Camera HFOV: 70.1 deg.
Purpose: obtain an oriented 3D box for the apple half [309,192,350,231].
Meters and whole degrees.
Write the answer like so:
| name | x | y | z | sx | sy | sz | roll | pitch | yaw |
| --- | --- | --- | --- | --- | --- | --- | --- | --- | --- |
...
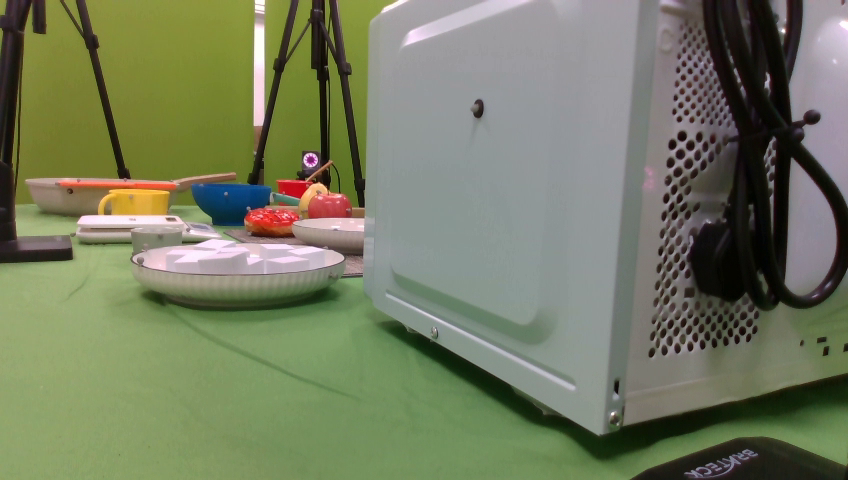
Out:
| name | x | y | z | sx | sy | sz | roll | pitch | yaw |
| --- | --- | --- | --- | --- | --- | --- | --- | --- | --- |
| apple half | -0.173 | -0.055 | 1.125 | 0.081 | 0.081 | 0.033 | 2 | 10 | 2 |

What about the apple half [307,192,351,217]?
| name | x | y | z | sx | sy | sz | roll | pitch | yaw |
| --- | --- | --- | --- | --- | --- | --- | --- | --- | --- |
| apple half | -0.174 | -0.049 | 1.087 | 0.081 | 0.074 | 0.053 | 6 | 10 | 2 |

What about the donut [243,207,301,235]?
| name | x | y | z | sx | sy | sz | roll | pitch | yaw |
| --- | --- | --- | --- | --- | --- | --- | --- | --- | --- |
| donut | -0.261 | -0.032 | 1.043 | 0.099 | 0.048 | 0.099 | 4 | 9 | 0 |

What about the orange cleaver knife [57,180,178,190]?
| name | x | y | z | sx | sy | sz | roll | pitch | yaw |
| --- | --- | --- | --- | --- | --- | --- | --- | --- | --- |
| orange cleaver knife | -0.600 | -0.109 | 1.189 | 0.212 | 0.012 | 0.077 | -1 | 11 | -26 |

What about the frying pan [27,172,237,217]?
| name | x | y | z | sx | sy | sz | roll | pitch | yaw |
| --- | --- | --- | --- | --- | --- | --- | --- | --- | --- |
| frying pan | -0.624 | -0.118 | 1.387 | 0.305 | 0.102 | 0.490 | 8 | 17 | 32 |

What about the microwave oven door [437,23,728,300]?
| name | x | y | z | sx | sy | sz | roll | pitch | yaw |
| --- | --- | --- | --- | --- | --- | --- | --- | --- | --- |
| microwave oven door | 0.180 | -0.072 | 0.621 | 0.358 | 0.243 | 0.039 | -2 | 8 | -29 |

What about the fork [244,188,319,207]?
| name | x | y | z | sx | sy | sz | roll | pitch | yaw |
| --- | --- | --- | --- | --- | --- | --- | --- | --- | --- |
| fork | -0.356 | -0.105 | 1.526 | 0.208 | 0.018 | 0.028 | 16 | -5 | -41 |

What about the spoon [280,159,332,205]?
| name | x | y | z | sx | sy | sz | roll | pitch | yaw |
| --- | --- | --- | --- | --- | --- | --- | --- | --- | --- |
| spoon | -0.316 | -0.159 | 1.640 | 0.194 | 0.022 | 0.041 | -50 | 32 | -20 |

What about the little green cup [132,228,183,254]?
| name | x | y | z | sx | sy | sz | roll | pitch | yaw |
| --- | --- | --- | --- | --- | --- | --- | --- | --- | --- |
| little green cup | -0.342 | 0.006 | 0.779 | 0.061 | 0.038 | 0.061 | 2 | 8 | 0 |

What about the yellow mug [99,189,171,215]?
| name | x | y | z | sx | sy | sz | roll | pitch | yaw |
| --- | --- | --- | --- | --- | --- | --- | --- | --- | --- |
| yellow mug | -0.519 | -0.055 | 1.080 | 0.099 | 0.064 | 0.131 | 7 | 9 | 26 |

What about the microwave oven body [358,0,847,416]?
| name | x | y | z | sx | sy | sz | roll | pitch | yaw |
| --- | --- | --- | --- | --- | --- | --- | --- | --- | --- |
| microwave oven body | 0.211 | -0.047 | 0.475 | 0.444 | 0.260 | 0.324 | -1 | 7 | -28 |

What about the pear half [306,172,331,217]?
| name | x | y | z | sx | sy | sz | roll | pitch | yaw |
| --- | --- | --- | --- | --- | --- | --- | --- | --- | --- |
| pear half | -0.200 | -0.079 | 1.203 | 0.056 | 0.110 | 0.076 | 3 | 11 | 1 |

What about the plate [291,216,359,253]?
| name | x | y | z | sx | sy | sz | roll | pitch | yaw |
| --- | --- | --- | --- | --- | --- | --- | --- | --- | --- |
| plate | -0.103 | -0.009 | 0.945 | 0.209 | 0.038 | 0.209 | 2 | 7 | 0 |

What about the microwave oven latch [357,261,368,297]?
| name | x | y | z | sx | sy | sz | roll | pitch | yaw |
| --- | --- | --- | --- | --- | --- | --- | --- | --- | --- |
| microwave oven latch | -0.019 | 0.033 | 0.531 | 0.079 | 0.029 | 0.030 | -1 | 7 | -27 |

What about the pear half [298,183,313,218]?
| name | x | y | z | sx | sy | sz | roll | pitch | yaw |
| --- | --- | --- | --- | --- | --- | --- | --- | --- | --- |
| pear half | -0.235 | -0.071 | 1.207 | 0.031 | 0.088 | 0.070 | 3 | 10 | 0 |

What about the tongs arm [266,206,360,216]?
| name | x | y | z | sx | sy | sz | roll | pitch | yaw |
| --- | --- | --- | --- | --- | --- | --- | --- | --- | --- |
| tongs arm | -0.173 | -0.061 | 1.362 | 0.387 | 0.026 | 0.050 | -1 | 4 | -31 |

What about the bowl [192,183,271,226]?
| name | x | y | z | sx | sy | sz | roll | pitch | yaw |
| --- | --- | --- | --- | --- | --- | --- | --- | --- | --- |
| bowl | -0.382 | -0.071 | 1.202 | 0.151 | 0.077 | 0.151 | 3 | 7 | 0 |

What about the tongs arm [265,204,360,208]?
| name | x | y | z | sx | sy | sz | roll | pitch | yaw |
| --- | --- | --- | --- | --- | --- | --- | --- | --- | --- |
| tongs arm | -0.210 | -0.069 | 1.440 | 0.389 | 0.027 | 0.028 | 1 | 0 | -17 |

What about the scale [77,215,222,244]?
| name | x | y | z | sx | sy | sz | roll | pitch | yaw |
| --- | --- | --- | --- | --- | --- | --- | --- | --- | --- |
| scale | -0.434 | -0.019 | 0.963 | 0.202 | 0.031 | 0.148 | -1 | 9 | -27 |

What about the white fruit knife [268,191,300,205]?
| name | x | y | z | sx | sy | sz | roll | pitch | yaw |
| --- | --- | --- | --- | --- | --- | --- | --- | --- | --- |
| white fruit knife | -0.364 | -0.105 | 1.464 | 0.208 | 0.027 | 0.016 | 15 | -1 | -34 |

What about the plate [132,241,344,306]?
| name | x | y | z | sx | sy | sz | roll | pitch | yaw |
| --- | --- | --- | --- | --- | --- | --- | --- | --- | --- |
| plate | -0.187 | 0.033 | 0.625 | 0.208 | 0.039 | 0.207 | 2 | 8 | 0 |
